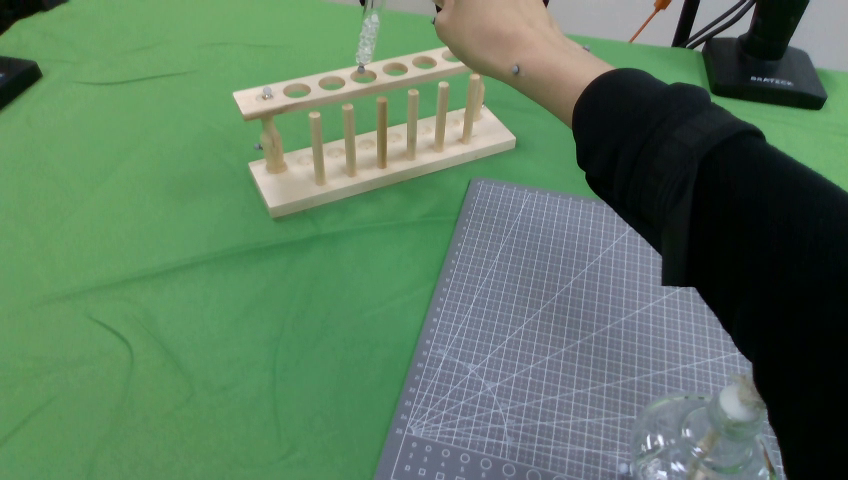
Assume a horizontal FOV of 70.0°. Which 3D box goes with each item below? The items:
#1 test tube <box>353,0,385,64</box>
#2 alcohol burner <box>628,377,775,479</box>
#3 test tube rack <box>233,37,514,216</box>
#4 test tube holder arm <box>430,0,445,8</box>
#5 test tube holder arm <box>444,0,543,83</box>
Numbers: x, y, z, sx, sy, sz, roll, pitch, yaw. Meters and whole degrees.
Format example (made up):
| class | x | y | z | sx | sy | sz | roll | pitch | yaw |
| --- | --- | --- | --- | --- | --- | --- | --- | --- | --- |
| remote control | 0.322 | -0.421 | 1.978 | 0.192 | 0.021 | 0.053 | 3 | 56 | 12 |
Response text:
| class | x | y | z | sx | sy | sz | roll | pitch | yaw |
| --- | --- | --- | --- | --- | --- | --- | --- | --- | --- |
| test tube | -0.033 | -0.203 | 0.457 | 0.017 | 0.151 | 0.017 | 12 | 39 | -10 |
| alcohol burner | 0.153 | 0.106 | 0.324 | 0.078 | 0.120 | 0.077 | 0 | 48 | 0 |
| test tube rack | -0.034 | -0.106 | 0.540 | 0.243 | 0.086 | 0.066 | -19 | 50 | -19 |
| test tube holder arm | -0.015 | -0.196 | 0.438 | 0.087 | 0.015 | 0.010 | 40 | 45 | 14 |
| test tube holder arm | 0.019 | -0.169 | 0.428 | 0.013 | 0.015 | 0.177 | -26 | 64 | -40 |
